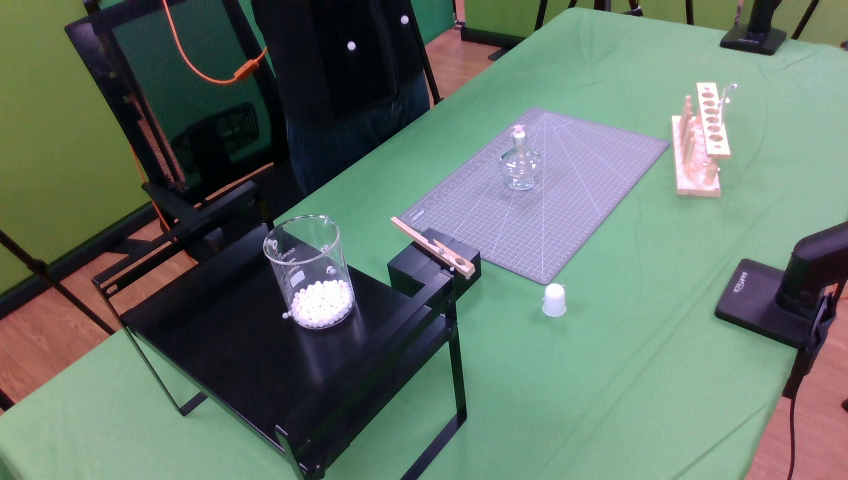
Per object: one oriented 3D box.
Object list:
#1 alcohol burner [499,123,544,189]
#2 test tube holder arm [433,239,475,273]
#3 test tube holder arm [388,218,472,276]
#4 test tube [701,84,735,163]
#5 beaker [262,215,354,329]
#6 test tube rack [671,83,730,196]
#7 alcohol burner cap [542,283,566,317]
[{"bbox_3d":[0.168,-0.149,1.048,0.078,0.119,0.077,-6,41,6],"label":"alcohol burner"},{"bbox_3d":[0.040,0.024,0.871,0.010,0.015,0.087,-33,46,-28],"label":"test tube holder arm"},{"bbox_3d":[0.005,0.008,0.895,0.013,0.015,0.177,-35,46,-29],"label":"test tube holder arm"},{"bbox_3d":[0.483,-0.189,0.996,0.017,0.151,0.017,-2,46,3],"label":"test tube"},{"bbox_3d":[-0.112,0.034,0.616,0.073,0.101,0.084,13,44,23],"label":"beaker"},{"bbox_3d":[0.482,-0.184,1.067,0.066,0.085,0.242,5,42,15],"label":"test tube rack"},{"bbox_3d":[0.181,0.081,0.840,0.034,0.048,0.033,-3,40,3],"label":"alcohol burner cap"}]
